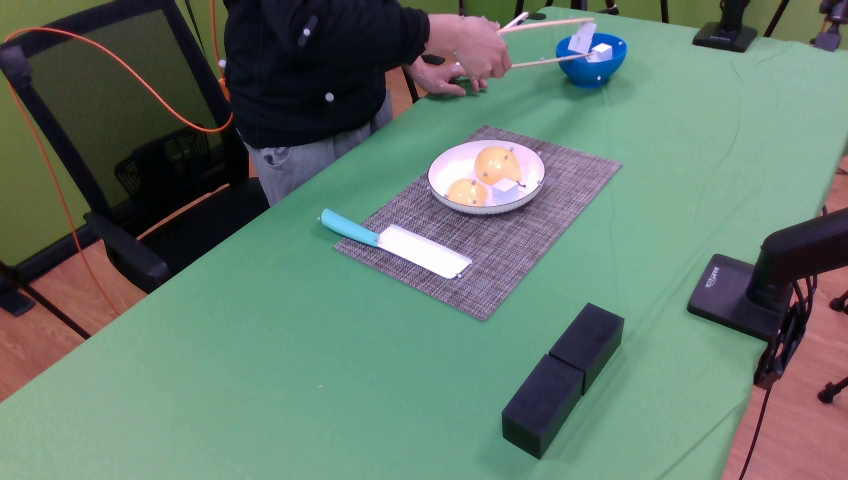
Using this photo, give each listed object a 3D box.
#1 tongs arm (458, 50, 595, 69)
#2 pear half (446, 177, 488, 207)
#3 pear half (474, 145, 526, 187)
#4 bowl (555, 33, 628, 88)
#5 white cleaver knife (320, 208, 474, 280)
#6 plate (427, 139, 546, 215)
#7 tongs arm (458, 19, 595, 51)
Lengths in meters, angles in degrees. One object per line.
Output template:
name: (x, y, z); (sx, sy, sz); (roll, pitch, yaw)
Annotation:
tongs arm: (0.210, -0.359, 1.162); (0.387, 0.051, 0.026); (-22, 28, -38)
pear half: (0.073, -0.086, 1.032); (0.070, 0.031, 0.087); (-20, 36, -9)
pear half: (0.140, -0.129, 1.059); (0.076, 0.056, 0.109); (-37, 52, -24)
bowl: (0.361, -0.384, 1.318); (0.151, 0.077, 0.150); (-4, 41, 4)
white cleaver knife: (-0.053, 0.001, 0.978); (0.284, 0.021, 0.066); (23, 40, 26)
plate: (0.109, -0.107, 1.058); (0.207, 0.039, 0.206); (-4, 41, 4)
tongs arm: (0.208, -0.397, 1.149); (0.390, 0.028, 0.027); (-23, 32, -38)
